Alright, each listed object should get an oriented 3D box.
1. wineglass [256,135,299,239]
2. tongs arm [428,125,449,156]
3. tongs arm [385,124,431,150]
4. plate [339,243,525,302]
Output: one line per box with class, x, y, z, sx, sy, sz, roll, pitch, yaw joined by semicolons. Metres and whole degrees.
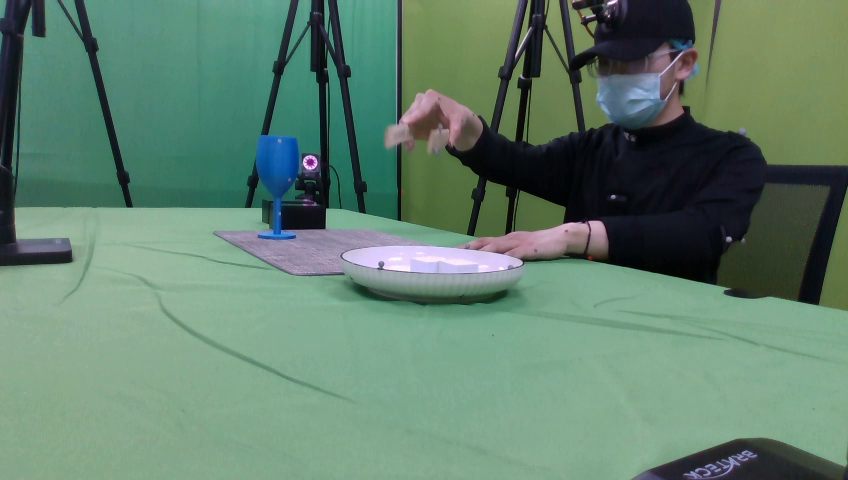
wineglass;-0.252;-0.091;1.035;0.074;0.172;0.073;2;7;0
tongs arm;0.011;-0.148;0.875;0.051;0.026;0.385;8;12;6
tongs arm;-0.021;-0.153;0.876;0.028;0.028;0.387;4;12;5
plate;0.008;0.035;0.682;0.209;0.038;0.209;3;7;0
